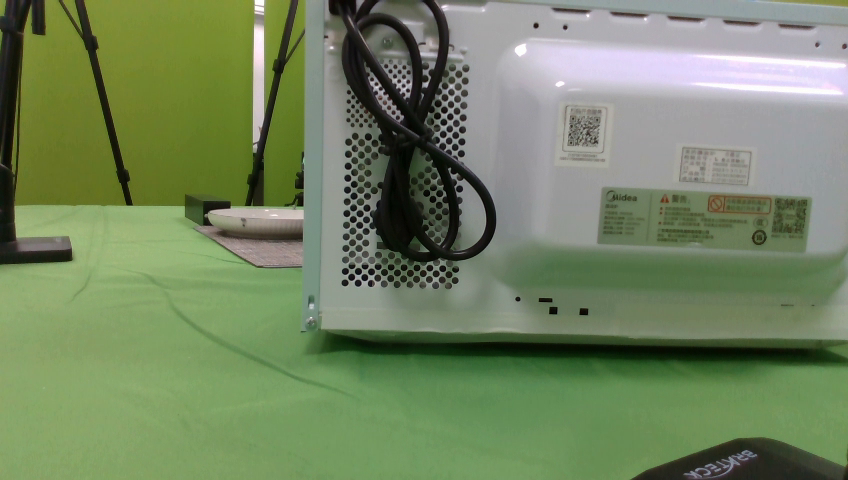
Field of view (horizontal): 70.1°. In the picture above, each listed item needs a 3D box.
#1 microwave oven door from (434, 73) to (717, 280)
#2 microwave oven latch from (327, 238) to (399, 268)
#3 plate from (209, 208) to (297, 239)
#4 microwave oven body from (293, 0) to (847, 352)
[{"bbox_3d":[0.180,-0.089,0.794,0.354,0.243,0.039,6,7,30],"label":"microwave oven door"},{"bbox_3d":[-0.069,0.015,0.694,0.079,0.029,0.030,3,7,-3],"label":"microwave oven latch"},{"bbox_3d":[-0.271,-0.029,1.074,0.208,0.039,0.207,3,7,0],"label":"plate"},{"bbox_3d":[0.122,-0.055,0.550,0.442,0.260,0.325,3,7,-5],"label":"microwave oven body"}]
